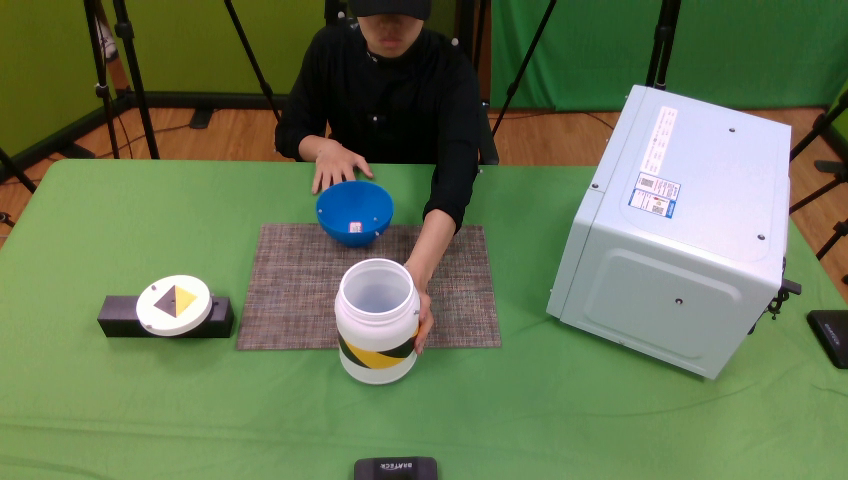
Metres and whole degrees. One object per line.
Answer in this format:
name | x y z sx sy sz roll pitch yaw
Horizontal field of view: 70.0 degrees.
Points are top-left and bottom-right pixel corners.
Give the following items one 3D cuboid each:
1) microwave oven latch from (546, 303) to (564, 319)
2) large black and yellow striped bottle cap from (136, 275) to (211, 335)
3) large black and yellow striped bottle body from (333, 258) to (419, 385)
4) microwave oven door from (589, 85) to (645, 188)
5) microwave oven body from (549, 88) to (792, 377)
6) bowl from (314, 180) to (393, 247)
microwave oven latch | 0.242 0.102 1.081 0.030 0.029 0.079 21 48 17
large black and yellow striped bottle cap | -0.412 0.105 0.999 0.115 0.019 0.114 3 46 -3
large black and yellow striped bottle body | -0.074 0.128 0.949 0.131 0.185 0.130 2 47 -1
microwave oven door | 0.341 -0.107 1.149 0.039 0.245 0.354 20 48 15
microwave oven body | 0.456 -0.028 1.088 0.325 0.261 0.440 20 47 16
bowl | -0.135 -0.039 1.181 0.151 0.077 0.150 2 46 -2
